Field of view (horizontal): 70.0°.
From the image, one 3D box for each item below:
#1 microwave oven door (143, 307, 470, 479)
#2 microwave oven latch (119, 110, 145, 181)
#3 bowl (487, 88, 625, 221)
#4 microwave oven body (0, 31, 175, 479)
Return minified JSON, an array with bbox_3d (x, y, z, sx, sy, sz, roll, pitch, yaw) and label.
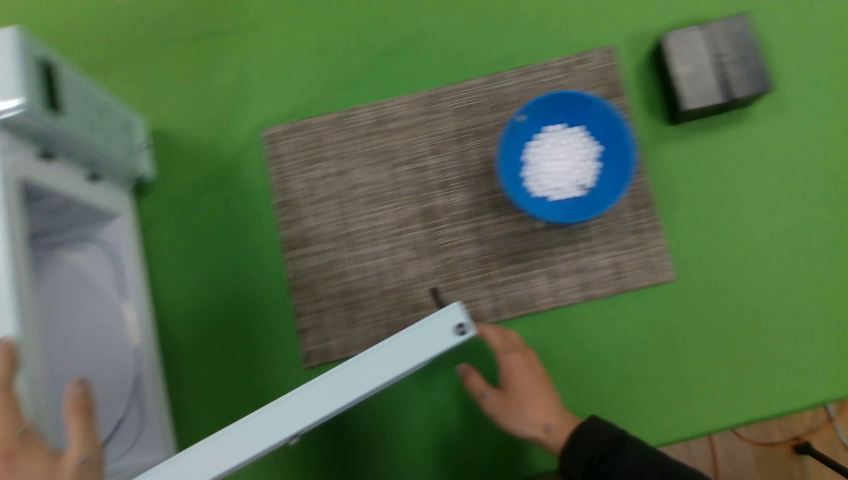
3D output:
[{"bbox_3d":[-0.118,0.161,0.581,0.356,0.244,0.039,-29,81,-2],"label":"microwave oven door"},{"bbox_3d":[-0.361,-0.113,0.728,0.030,0.029,0.079,-15,83,-1],"label":"microwave oven latch"},{"bbox_3d":[0.146,-0.089,0.701,0.151,0.077,0.151,0,82,2],"label":"bowl"},{"bbox_3d":[-0.463,0.080,0.608,0.326,0.261,0.440,-15,82,-1],"label":"microwave oven body"}]
